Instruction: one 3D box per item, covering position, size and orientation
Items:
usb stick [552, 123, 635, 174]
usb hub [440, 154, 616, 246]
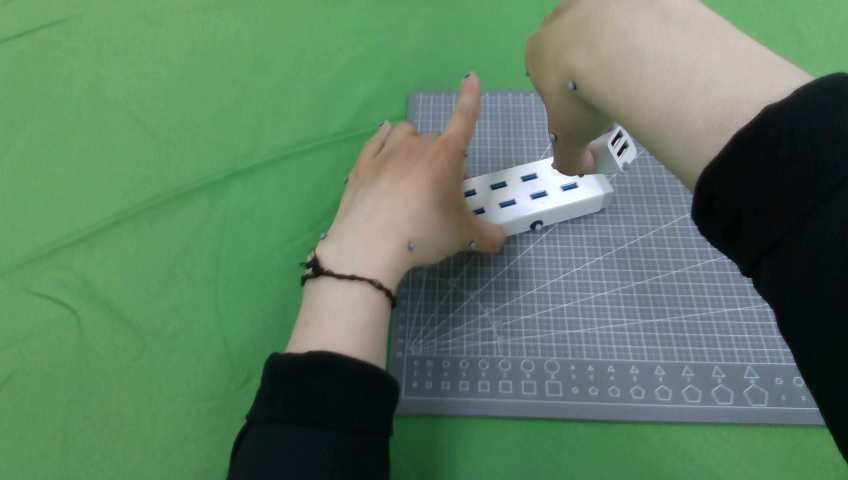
[{"bbox_3d":[0.105,-0.059,0.395,0.021,0.027,0.059,-52,27,-20],"label":"usb stick"},{"bbox_3d":[0.078,-0.035,0.464,0.125,0.025,0.049,-14,58,-9],"label":"usb hub"}]
